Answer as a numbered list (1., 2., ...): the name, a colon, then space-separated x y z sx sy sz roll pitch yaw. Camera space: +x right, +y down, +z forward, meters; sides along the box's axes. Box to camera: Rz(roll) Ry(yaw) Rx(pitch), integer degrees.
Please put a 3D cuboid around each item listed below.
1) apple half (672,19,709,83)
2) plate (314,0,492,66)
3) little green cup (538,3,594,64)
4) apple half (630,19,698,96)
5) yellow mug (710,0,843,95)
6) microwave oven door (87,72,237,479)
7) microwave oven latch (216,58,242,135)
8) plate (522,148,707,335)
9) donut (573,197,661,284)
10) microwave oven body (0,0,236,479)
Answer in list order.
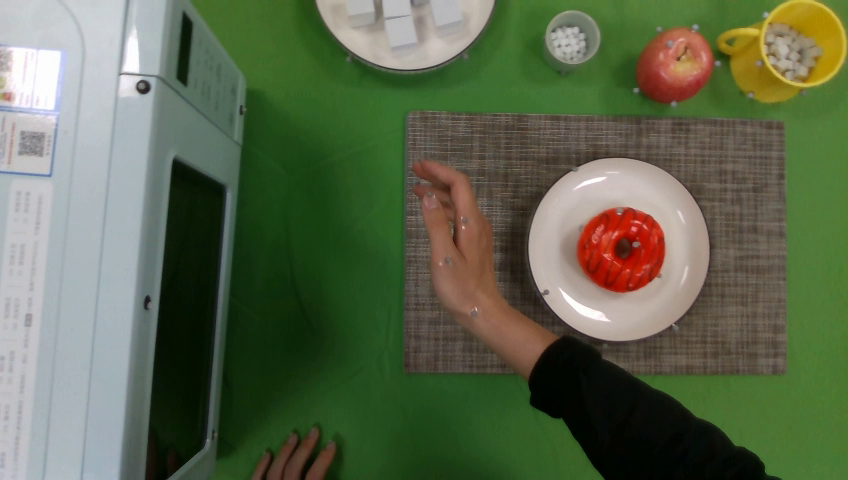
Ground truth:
1. apple half: 0.297 -0.216 0.685 0.033 0.081 0.081 -26 89 1
2. plate: -0.024 -0.297 0.688 0.208 0.039 0.207 0 88 -3
3. little green cup: 0.160 -0.234 0.696 0.061 0.038 0.061 0 88 -2
4. apple half: 0.262 -0.199 0.684 0.053 0.074 0.081 -26 93 1
5. yellow mug: 0.395 -0.228 0.695 0.131 0.064 0.100 12 87 -2
6. microwave oven door: -0.226 0.059 0.546 0.039 0.244 0.355 3 88 -3
7. microwave oven latch: -0.215 -0.156 0.655 0.030 0.029 0.079 6 89 -3
8. plate: 0.213 0.001 0.688 0.209 0.038 0.209 0 88 -3
9. donut: 0.215 0.001 0.677 0.099 0.048 0.099 0 90 -2
10. microwave oven body: -0.369 0.007 0.545 0.326 0.260 0.441 4 88 -3
